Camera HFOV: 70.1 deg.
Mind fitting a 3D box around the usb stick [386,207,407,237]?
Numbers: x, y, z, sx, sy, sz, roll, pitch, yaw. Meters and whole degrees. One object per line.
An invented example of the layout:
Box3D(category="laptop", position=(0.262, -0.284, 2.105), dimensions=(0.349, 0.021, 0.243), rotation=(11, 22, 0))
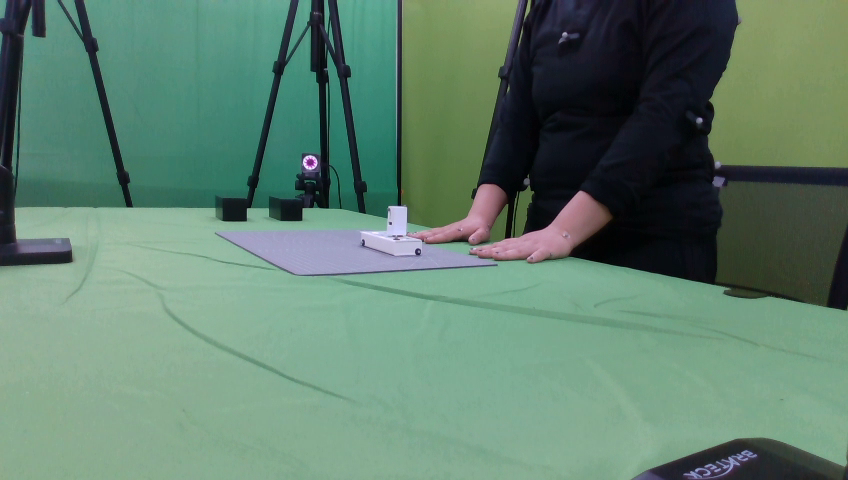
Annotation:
Box3D(category="usb stick", position=(-0.043, -0.022, 0.938), dimensions=(0.027, 0.059, 0.021), rotation=(-5, 10, -34))

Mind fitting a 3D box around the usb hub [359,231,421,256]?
Box3D(category="usb hub", position=(-0.056, 0.004, 0.954), dimensions=(0.050, 0.025, 0.124), rotation=(-2, 8, -31))
